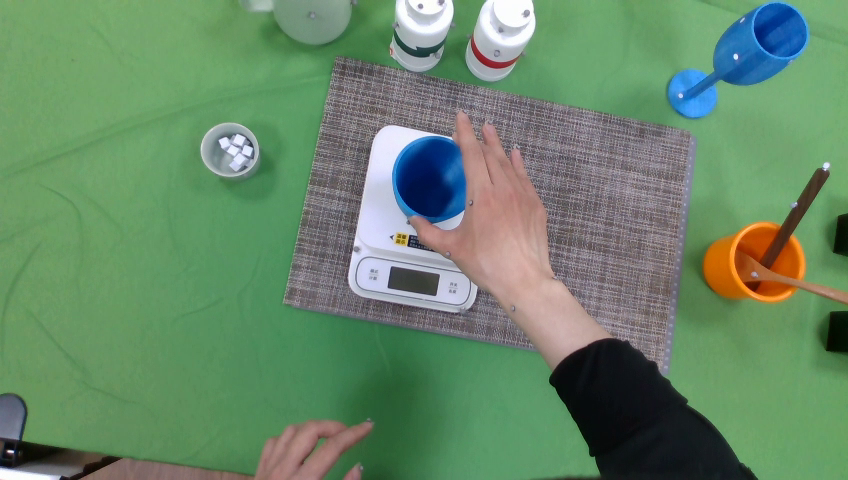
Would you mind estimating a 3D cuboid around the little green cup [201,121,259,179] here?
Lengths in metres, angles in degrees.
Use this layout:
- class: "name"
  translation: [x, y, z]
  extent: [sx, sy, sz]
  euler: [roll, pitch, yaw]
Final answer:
- class: "little green cup"
  translation: [-0.215, -0.098, 0.681]
  extent: [0.062, 0.038, 0.061]
  euler: [1, 83, -7]

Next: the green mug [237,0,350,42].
- class: "green mug"
  translation: [-0.147, -0.280, 0.677]
  extent: [0.125, 0.105, 0.092]
  euler: [-11, 84, -7]

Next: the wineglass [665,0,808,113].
- class: "wineglass"
  translation: [0.345, -0.204, 0.685]
  extent: [0.074, 0.172, 0.073]
  euler: [1, 82, -5]

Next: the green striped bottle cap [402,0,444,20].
- class: "green striped bottle cap"
  translation: [-0.001, -0.254, 0.629]
  extent: [0.044, 0.020, 0.044]
  euler: [1, 82, -6]

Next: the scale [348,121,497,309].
- class: "scale"
  translation: [0.000, -0.029, 0.695]
  extent: [0.149, 0.031, 0.200]
  euler: [10, 83, -5]

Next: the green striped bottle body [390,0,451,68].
- class: "green striped bottle body"
  translation: [-0.005, -0.246, 0.680]
  extent: [0.063, 0.119, 0.063]
  euler: [1, 82, -5]

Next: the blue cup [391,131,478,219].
- class: "blue cup"
  translation: [0.004, -0.059, 0.634]
  extent: [0.093, 0.100, 0.092]
  euler: [1, 85, -7]

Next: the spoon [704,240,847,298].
- class: "spoon"
  translation: [0.412, 0.041, 0.676]
  extent: [0.022, 0.192, 0.041]
  euler: [27, 87, -46]

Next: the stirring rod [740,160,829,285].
- class: "stirring rod"
  translation: [0.402, -0.014, 0.681]
  extent: [0.014, 0.177, 0.006]
  euler: [17, 41, 9]

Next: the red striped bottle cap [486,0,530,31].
- class: "red striped bottle cap"
  translation: [0.089, -0.244, 0.637]
  extent: [0.045, 0.018, 0.044]
  euler: [2, 81, -9]

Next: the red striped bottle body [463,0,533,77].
- class: "red striped bottle body"
  translation: [0.084, -0.237, 0.689]
  extent: [0.063, 0.120, 0.063]
  euler: [1, 82, -6]
